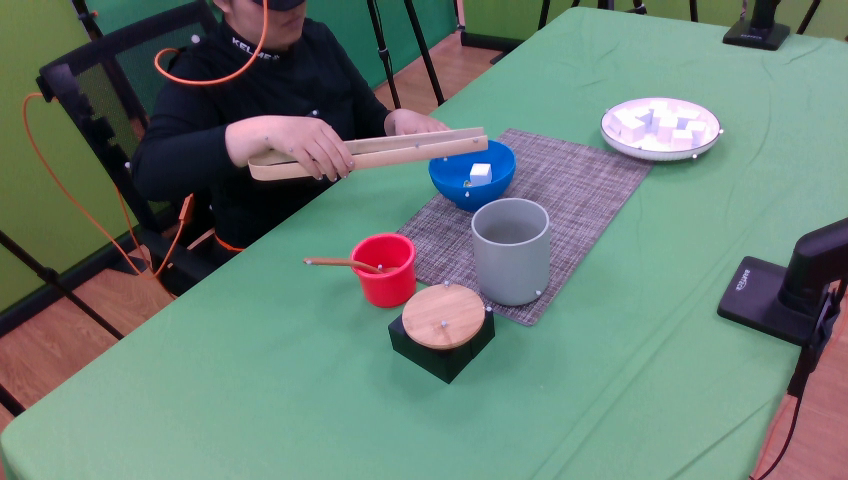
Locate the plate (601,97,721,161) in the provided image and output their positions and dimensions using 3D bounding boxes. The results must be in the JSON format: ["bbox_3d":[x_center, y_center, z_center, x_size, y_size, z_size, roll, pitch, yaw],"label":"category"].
[{"bbox_3d":[0.436,-0.203,1.126,0.209,0.038,0.208,-5,39,4],"label":"plate"}]

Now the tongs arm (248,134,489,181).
[{"bbox_3d":[-0.088,-0.137,0.976,0.386,0.026,0.050,-10,36,-7],"label":"tongs arm"}]

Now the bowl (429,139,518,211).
[{"bbox_3d":[0.087,-0.104,1.043,0.151,0.077,0.150,-5,40,5],"label":"bowl"}]

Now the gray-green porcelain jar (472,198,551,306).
[{"bbox_3d":[0.125,0.021,0.850,0.106,0.127,0.105,-6,40,5],"label":"gray-green porcelain jar"}]

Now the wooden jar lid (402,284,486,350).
[{"bbox_3d":[0.026,0.101,0.786,0.108,0.021,0.108,-5,39,4],"label":"wooden jar lid"}]

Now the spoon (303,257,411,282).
[{"bbox_3d":[-0.092,0.038,0.865,0.195,0.021,0.041,16,15,-46],"label":"spoon"}]

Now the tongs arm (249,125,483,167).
[{"bbox_3d":[-0.091,-0.152,0.998,0.388,0.028,0.028,-9,39,-4],"label":"tongs arm"}]
